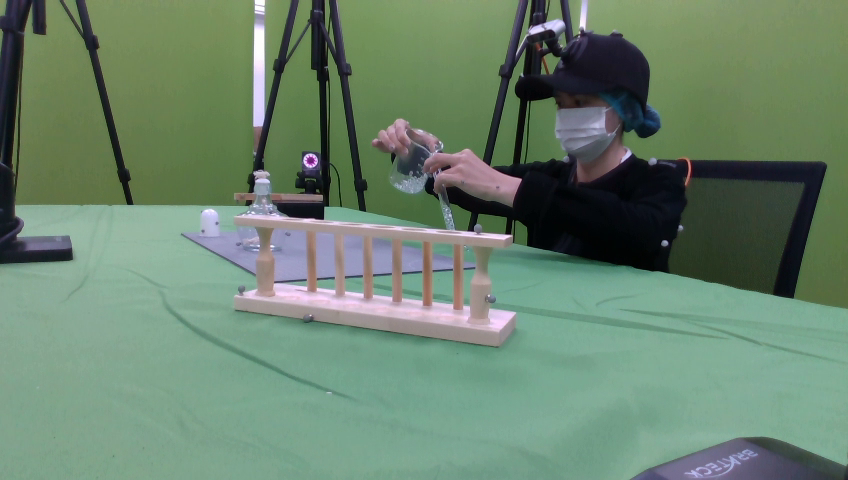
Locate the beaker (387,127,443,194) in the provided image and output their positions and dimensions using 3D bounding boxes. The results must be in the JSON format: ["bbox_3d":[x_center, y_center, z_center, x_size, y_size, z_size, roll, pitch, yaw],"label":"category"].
[{"bbox_3d":[-0.017,-0.139,1.088,0.074,0.100,0.083,3,36,-33],"label":"beaker"}]

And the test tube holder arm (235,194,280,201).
[{"bbox_3d":[-0.336,-0.086,1.221,0.088,0.015,0.010,-1,16,-29],"label":"test tube holder arm"}]

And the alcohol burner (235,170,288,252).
[{"bbox_3d":[-0.236,-0.042,0.882,0.078,0.119,0.078,2,9,0],"label":"alcohol burner"}]

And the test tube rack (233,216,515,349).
[{"bbox_3d":[-0.045,0.029,0.526,0.241,0.085,0.067,5,8,19],"label":"test tube rack"}]

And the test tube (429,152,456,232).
[{"bbox_3d":[0.030,-0.079,1.020,0.017,0.150,0.017,-12,-15,-3],"label":"test tube"}]

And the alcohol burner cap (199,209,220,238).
[{"bbox_3d":[-0.356,-0.027,1.002,0.034,0.048,0.034,2,7,0],"label":"alcohol burner cap"}]

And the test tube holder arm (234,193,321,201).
[{"bbox_3d":[-0.299,-0.088,1.248,0.179,0.015,0.013,-1,16,-30],"label":"test tube holder arm"}]
